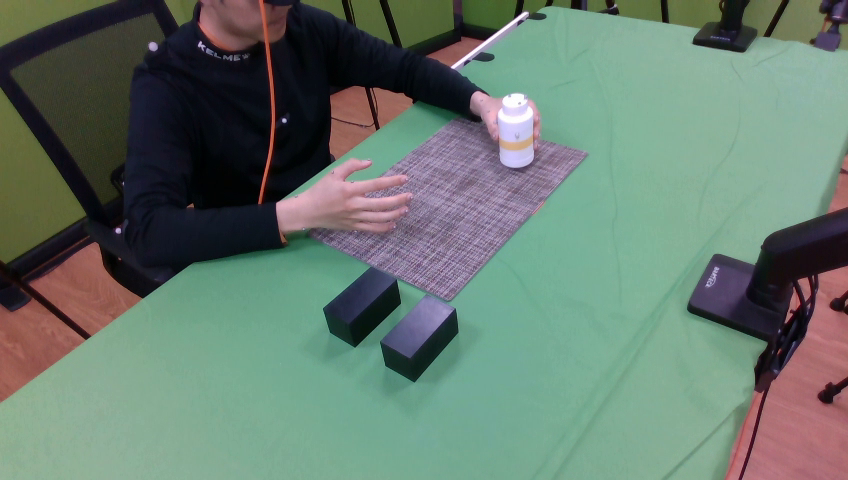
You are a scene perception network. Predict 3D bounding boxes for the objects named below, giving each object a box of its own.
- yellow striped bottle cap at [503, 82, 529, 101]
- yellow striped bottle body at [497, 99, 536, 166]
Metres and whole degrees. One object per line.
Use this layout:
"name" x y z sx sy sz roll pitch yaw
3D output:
"yellow striped bottle cap" 0.156 -0.252 1.026 0.044 0.019 0.044 -7 34 6
"yellow striped bottle body" 0.164 -0.196 1.071 0.063 0.121 0.062 -8 44 8
